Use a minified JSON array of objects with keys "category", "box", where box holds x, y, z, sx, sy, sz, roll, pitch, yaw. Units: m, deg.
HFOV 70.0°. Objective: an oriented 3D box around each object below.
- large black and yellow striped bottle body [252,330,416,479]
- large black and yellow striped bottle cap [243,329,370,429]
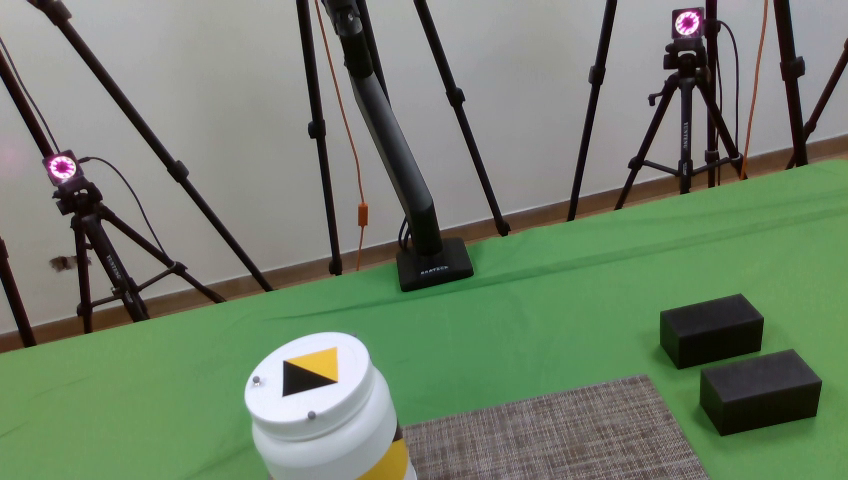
[{"category":"large black and yellow striped bottle body","box":[-0.088,0.191,0.593,0.130,0.185,0.129,-10,31,6]},{"category":"large black and yellow striped bottle cap","box":[-0.106,0.122,0.550,0.115,0.019,0.114,-9,30,5]}]
